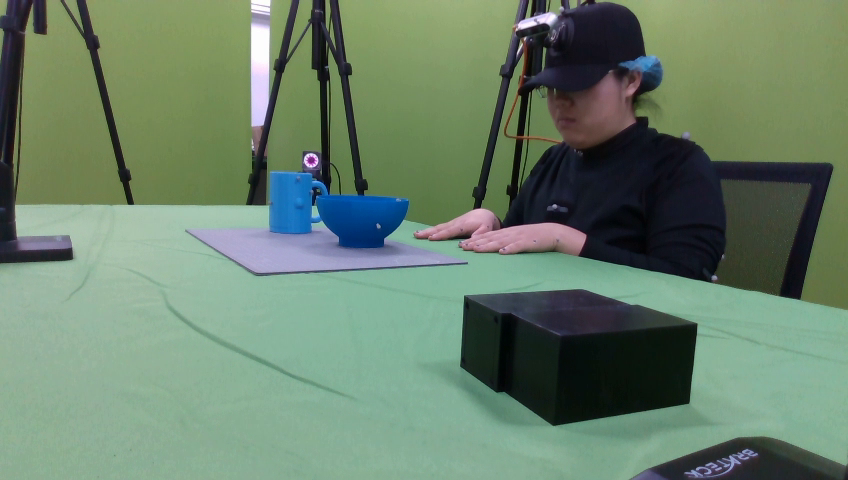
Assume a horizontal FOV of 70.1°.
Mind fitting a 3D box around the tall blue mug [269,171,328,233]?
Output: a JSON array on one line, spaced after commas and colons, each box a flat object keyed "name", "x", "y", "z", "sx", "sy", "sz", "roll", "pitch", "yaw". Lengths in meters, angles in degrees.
[{"name": "tall blue mug", "x": -0.236, "y": -0.071, "z": 1.118, "sx": 0.077, "sy": 0.108, "sz": 0.107, "roll": 5, "pitch": 8, "yaw": 25}]

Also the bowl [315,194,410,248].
[{"name": "bowl", "x": -0.099, "y": -0.030, "z": 0.971, "sx": 0.151, "sy": 0.077, "sz": 0.151, "roll": 2, "pitch": 7, "yaw": 0}]
